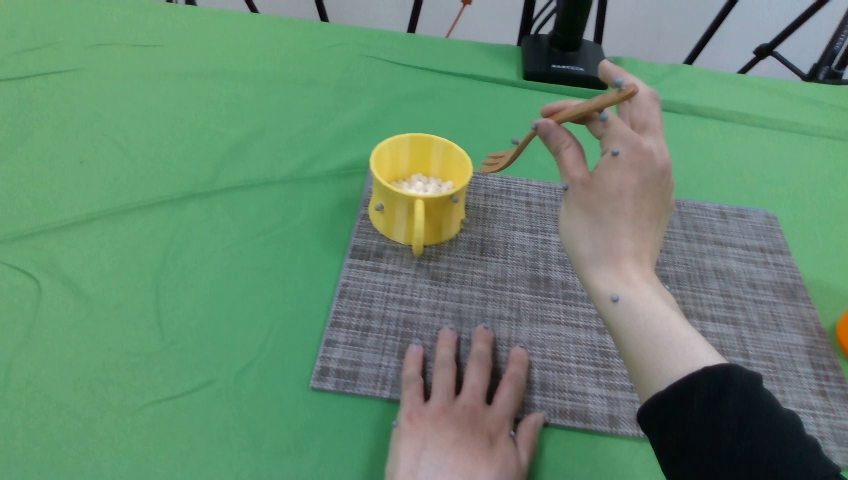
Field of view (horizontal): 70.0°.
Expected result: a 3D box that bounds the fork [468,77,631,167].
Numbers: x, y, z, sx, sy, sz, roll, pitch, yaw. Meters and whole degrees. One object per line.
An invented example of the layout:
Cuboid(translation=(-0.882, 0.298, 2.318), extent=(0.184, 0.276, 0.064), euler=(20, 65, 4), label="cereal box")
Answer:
Cuboid(translation=(0.084, -0.084, 0.456), extent=(0.019, 0.207, 0.028), euler=(43, 72, -9), label="fork")

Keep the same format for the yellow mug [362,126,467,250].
Cuboid(translation=(-0.011, -0.047, 0.589), extent=(0.100, 0.064, 0.129), euler=(4, 46, -4), label="yellow mug")
